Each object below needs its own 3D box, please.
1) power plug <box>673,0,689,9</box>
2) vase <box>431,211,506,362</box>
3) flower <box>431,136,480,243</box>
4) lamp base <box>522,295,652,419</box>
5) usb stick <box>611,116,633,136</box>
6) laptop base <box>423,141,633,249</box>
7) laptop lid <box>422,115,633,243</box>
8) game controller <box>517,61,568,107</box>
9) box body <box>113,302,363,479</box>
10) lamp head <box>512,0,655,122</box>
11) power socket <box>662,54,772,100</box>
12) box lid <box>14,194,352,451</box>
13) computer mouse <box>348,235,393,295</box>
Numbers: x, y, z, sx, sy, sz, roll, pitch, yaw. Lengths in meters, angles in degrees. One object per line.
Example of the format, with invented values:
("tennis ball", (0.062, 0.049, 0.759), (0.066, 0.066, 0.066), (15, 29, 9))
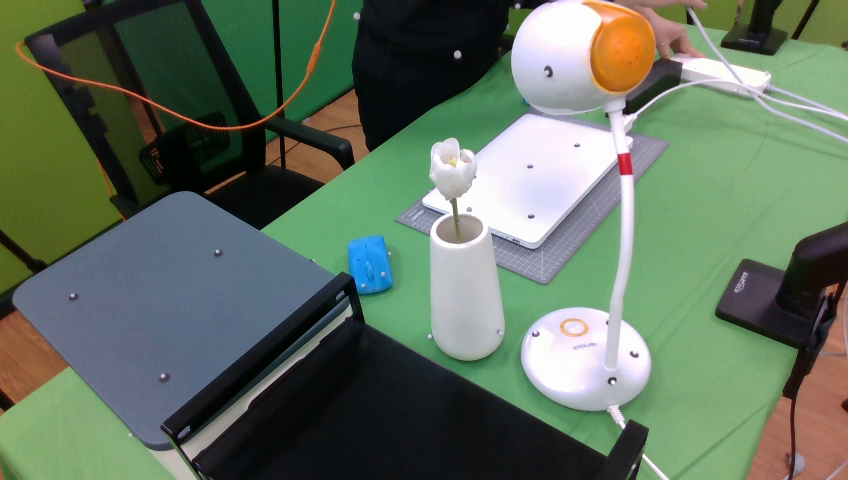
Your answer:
("power plug", (0.509, -0.474, 1.205), (0.035, 0.053, 0.072), (16, 72, 31))
("vase", (0.054, 0.062, 0.757), (0.098, 0.201, 0.097), (-3, 40, 3))
("flower", (0.042, 0.011, 0.691), (0.044, 0.363, 0.038), (16, 62, 14))
("lamp base", (0.201, 0.095, 0.710), (0.161, 0.181, 0.178), (-16, 43, -10))
("usb stick", (0.371, -0.208, 1.146), (0.021, 0.027, 0.059), (27, 61, 34))
("laptop base", (0.194, -0.117, 1.087), (0.233, 0.023, 0.355), (21, 48, 34))
("laptop lid", (0.191, -0.126, 1.081), (0.239, 0.013, 0.358), (23, 49, 35))
("game controller", (0.261, -0.352, 1.335), (0.097, 0.052, 0.154), (-3, 41, 2))
("box body", (-0.284, 0.123, 0.766), (0.361, 0.161, 0.255), (25, 49, 33))
("lamp head", (0.156, -0.168, 0.564), (0.113, 0.113, 0.122), (-18, 23, -12))
("power socket", (0.616, -0.348, 1.284), (0.072, 0.033, 0.225), (-36, 48, -29))
("box lid", (-0.291, 0.067, 0.717), (0.368, 0.015, 0.264), (25, 50, 33))
("computer mouse", (-0.085, 0.035, 0.936), (0.063, 0.041, 0.116), (-8, 44, -5))
